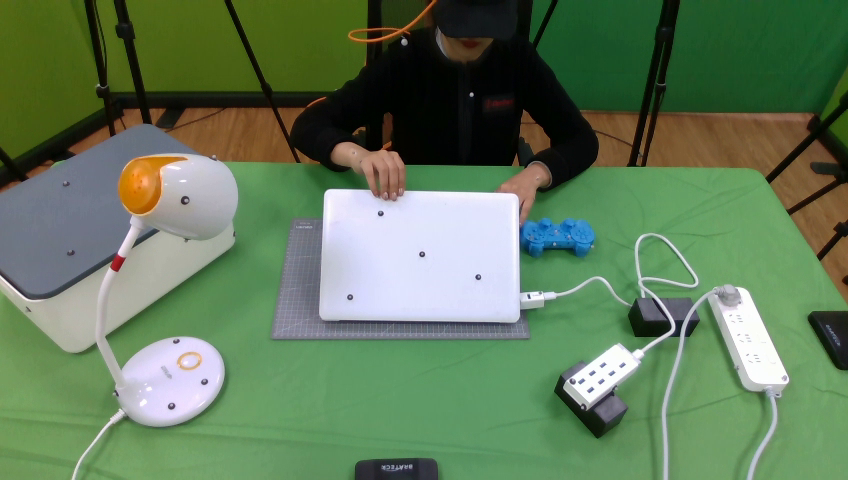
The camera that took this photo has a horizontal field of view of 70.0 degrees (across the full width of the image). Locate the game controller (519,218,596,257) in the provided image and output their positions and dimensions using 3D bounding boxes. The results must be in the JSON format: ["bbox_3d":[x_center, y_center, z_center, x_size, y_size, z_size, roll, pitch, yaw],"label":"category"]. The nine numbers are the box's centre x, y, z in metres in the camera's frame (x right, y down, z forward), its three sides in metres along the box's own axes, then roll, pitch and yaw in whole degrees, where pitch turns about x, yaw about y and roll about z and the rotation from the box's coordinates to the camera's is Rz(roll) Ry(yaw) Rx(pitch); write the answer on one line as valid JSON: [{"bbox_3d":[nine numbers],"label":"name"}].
[{"bbox_3d":[0.267,-0.015,1.213,0.155,0.052,0.096,0,50,-3],"label":"game controller"}]

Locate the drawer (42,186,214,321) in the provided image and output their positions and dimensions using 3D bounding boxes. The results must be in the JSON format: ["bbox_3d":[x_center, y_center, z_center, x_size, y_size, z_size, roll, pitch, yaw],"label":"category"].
[{"bbox_3d":[-0.529,0.018,1.097,0.194,0.073,0.211,29,53,20],"label":"drawer"}]

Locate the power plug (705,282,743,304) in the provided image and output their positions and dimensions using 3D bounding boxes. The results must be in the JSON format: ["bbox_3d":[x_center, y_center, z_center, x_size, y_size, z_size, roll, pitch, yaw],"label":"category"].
[{"bbox_3d":[0.539,0.097,1.098,0.072,0.053,0.035,8,47,8],"label":"power plug"}]

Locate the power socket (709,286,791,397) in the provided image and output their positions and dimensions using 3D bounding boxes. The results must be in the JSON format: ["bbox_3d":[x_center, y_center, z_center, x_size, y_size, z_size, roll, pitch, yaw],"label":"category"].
[{"bbox_3d":[0.568,0.167,1.064,0.072,0.033,0.225,2,46,-1],"label":"power socket"}]

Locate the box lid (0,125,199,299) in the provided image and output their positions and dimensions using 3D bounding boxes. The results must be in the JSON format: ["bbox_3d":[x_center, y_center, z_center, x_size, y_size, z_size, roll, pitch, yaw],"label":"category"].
[{"bbox_3d":[-0.540,-0.068,1.016,0.262,0.015,0.371,30,51,23],"label":"box lid"}]

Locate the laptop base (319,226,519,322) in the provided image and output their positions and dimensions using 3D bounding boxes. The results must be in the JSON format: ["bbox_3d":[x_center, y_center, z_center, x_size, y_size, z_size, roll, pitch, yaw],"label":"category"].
[{"bbox_3d":[-0.010,0.062,1.138,0.354,0.023,0.234,1,43,-3],"label":"laptop base"}]

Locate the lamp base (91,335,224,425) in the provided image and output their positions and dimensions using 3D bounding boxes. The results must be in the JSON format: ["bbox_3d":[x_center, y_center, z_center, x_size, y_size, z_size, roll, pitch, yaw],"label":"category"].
[{"bbox_3d":[-0.401,0.171,0.892,0.160,0.181,0.179,30,53,23],"label":"lamp base"}]

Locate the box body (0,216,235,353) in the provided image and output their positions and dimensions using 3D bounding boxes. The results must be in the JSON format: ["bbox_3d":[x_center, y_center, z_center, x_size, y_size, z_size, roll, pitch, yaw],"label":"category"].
[{"bbox_3d":[-0.550,-0.007,1.068,0.253,0.161,0.363,30,51,23],"label":"box body"}]

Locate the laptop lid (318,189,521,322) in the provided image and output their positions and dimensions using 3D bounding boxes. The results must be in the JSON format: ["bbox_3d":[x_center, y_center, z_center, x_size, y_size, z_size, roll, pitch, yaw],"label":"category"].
[{"bbox_3d":[-0.005,0.024,1.068,0.357,0.013,0.241,3,78,-2],"label":"laptop lid"}]

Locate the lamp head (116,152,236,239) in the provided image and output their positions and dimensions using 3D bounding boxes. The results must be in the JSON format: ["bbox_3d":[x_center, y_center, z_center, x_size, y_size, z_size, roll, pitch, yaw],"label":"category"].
[{"bbox_3d":[-0.315,-0.057,0.748,0.112,0.112,0.123,26,10,20],"label":"lamp head"}]

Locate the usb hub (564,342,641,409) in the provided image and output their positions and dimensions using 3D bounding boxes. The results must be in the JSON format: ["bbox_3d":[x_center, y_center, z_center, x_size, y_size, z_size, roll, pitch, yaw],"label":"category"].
[{"bbox_3d":[0.278,0.208,0.942,0.125,0.025,0.049,-27,52,-28],"label":"usb hub"}]

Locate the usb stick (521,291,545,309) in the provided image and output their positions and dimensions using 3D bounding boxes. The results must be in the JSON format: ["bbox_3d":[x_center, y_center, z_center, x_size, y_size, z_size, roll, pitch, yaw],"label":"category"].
[{"bbox_3d":[0.186,0.108,1.085,0.059,0.027,0.021,-8,47,0],"label":"usb stick"}]

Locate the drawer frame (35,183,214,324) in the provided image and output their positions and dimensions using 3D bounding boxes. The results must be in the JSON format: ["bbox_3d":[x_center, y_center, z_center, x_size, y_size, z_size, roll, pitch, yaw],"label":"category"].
[{"bbox_3d":[-0.531,0.018,1.092,0.201,0.083,0.213,29,52,21],"label":"drawer frame"}]
